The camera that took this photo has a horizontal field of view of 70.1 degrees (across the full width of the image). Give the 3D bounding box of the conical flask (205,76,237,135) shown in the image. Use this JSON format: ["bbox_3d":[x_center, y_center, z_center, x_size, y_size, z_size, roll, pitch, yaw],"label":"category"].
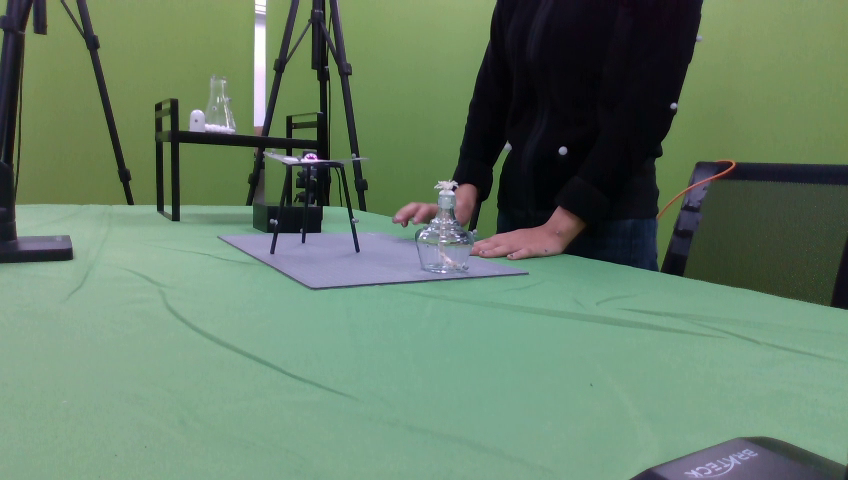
[{"bbox_3d":[-0.443,-0.290,1.309,0.075,0.122,0.075,3,7,0],"label":"conical flask"}]

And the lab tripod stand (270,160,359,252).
[{"bbox_3d":[-0.167,-0.051,0.892,0.148,0.131,0.148,3,9,0],"label":"lab tripod stand"}]

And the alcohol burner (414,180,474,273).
[{"bbox_3d":[0.026,-0.017,0.773,0.078,0.119,0.078,4,6,0],"label":"alcohol burner"}]

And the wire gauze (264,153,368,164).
[{"bbox_3d":[-0.160,-0.118,0.888,0.122,0.011,0.124,-3,10,-32],"label":"wire gauze"}]

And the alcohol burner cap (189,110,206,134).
[{"bbox_3d":[-0.463,-0.242,1.240,0.034,0.048,0.034,5,7,0],"label":"alcohol burner cap"}]
